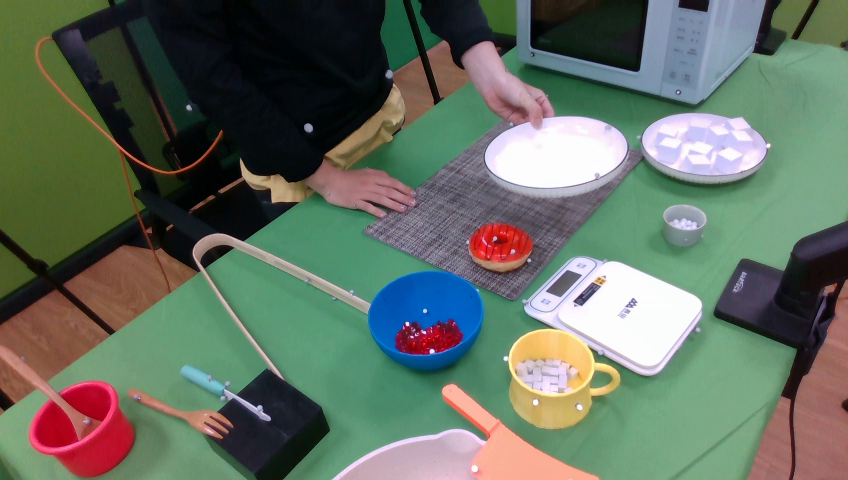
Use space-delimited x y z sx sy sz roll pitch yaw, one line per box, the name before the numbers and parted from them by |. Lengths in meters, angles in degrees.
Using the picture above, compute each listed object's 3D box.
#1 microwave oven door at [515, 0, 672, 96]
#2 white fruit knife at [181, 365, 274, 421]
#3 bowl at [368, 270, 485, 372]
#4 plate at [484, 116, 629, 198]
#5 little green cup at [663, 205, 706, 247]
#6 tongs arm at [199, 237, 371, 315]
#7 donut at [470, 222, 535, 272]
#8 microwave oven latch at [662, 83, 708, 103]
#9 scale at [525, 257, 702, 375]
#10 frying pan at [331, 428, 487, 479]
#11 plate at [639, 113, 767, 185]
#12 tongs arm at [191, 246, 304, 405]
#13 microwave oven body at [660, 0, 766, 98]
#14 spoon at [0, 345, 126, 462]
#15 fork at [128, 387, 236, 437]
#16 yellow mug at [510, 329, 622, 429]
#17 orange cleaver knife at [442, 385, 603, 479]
microwave oven door | 0.343 -0.454 1.259 0.353 0.245 0.039 26 51 33
white fruit knife | -0.245 0.187 0.747 0.205 0.027 0.016 9 41 40
bowl | 0.007 0.119 0.791 0.151 0.077 0.150 -5 39 4
plate | 0.193 -0.119 0.891 0.209 0.038 0.208 -7 37 6
little green cup | 0.396 -0.020 0.926 0.061 0.039 0.061 -4 40 4
tongs arm | -0.209 0.063 0.924 0.381 0.026 0.051 22 53 32
donut | 0.119 0.010 0.923 0.099 0.048 0.098 -3 38 3
microwave oven latch | 0.518 -0.296 1.204 0.078 0.029 0.030 28 52 35
scale | 0.254 0.091 0.821 0.199 0.032 0.149 28 51 35
frying pan | -0.089 0.305 0.564 0.487 0.103 0.306 10 41 7
plate | 0.489 -0.157 1.074 0.207 0.039 0.206 -4 40 4
tongs arm | -0.268 0.111 0.882 0.028 0.028 0.384 -36 46 -18
microwave oven body | 0.472 -0.513 1.317 0.438 0.261 0.327 26 51 34
spoon | -0.434 0.192 0.720 0.194 0.021 0.042 47 53 -7
fork | -0.305 0.208 0.744 0.206 0.019 0.028 3 41 36
yellow mug | 0.168 0.164 0.721 0.130 0.064 0.099 0 40 8
orange cleaver knife | 0.086 0.219 0.612 0.209 0.012 0.077 28 49 35
